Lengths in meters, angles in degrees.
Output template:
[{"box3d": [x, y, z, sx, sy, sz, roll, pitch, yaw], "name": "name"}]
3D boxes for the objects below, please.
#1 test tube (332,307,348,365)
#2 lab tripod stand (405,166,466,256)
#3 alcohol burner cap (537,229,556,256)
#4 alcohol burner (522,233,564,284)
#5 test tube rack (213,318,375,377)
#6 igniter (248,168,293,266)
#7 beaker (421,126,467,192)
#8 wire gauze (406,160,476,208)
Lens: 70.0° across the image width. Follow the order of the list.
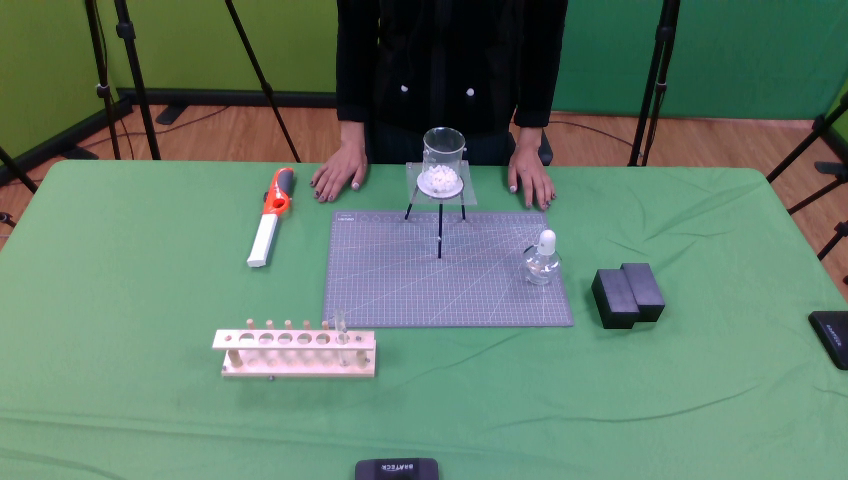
[{"box3d": [-0.128, 0.151, 0.931, 0.017, 0.151, 0.017, 1, 50, -2], "name": "test tube"}, {"box3d": [0.030, -0.063, 1.180, 0.148, 0.132, 0.147, 3, 47, -3], "name": "lab tripod stand"}, {"box3d": [0.223, 0.001, 1.095, 0.034, 0.048, 0.033, -1, 44, 1], "name": "alcohol burner cap"}, {"box3d": [0.223, 0.027, 1.121, 0.078, 0.119, 0.077, 2, 48, -2], "name": "alcohol burner"}, {"box3d": [-0.202, 0.170, 0.977, 0.242, 0.085, 0.066, 1, 46, -3], "name": "test tube rack"}, {"box3d": [-0.308, -0.055, 1.225, 0.057, 0.025, 0.275, -3, 45, 6], "name": "igniter"}, {"box3d": [0.031, -0.146, 1.100, 0.074, 0.101, 0.083, -16, 50, -20], "name": "beaker"}, {"box3d": [0.031, -0.107, 1.130, 0.125, 0.011, 0.120, 1, 48, -7], "name": "wire gauze"}]
